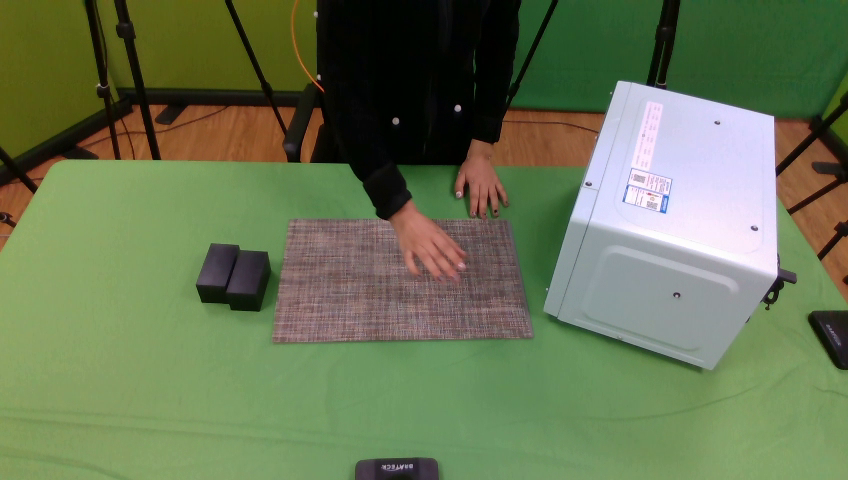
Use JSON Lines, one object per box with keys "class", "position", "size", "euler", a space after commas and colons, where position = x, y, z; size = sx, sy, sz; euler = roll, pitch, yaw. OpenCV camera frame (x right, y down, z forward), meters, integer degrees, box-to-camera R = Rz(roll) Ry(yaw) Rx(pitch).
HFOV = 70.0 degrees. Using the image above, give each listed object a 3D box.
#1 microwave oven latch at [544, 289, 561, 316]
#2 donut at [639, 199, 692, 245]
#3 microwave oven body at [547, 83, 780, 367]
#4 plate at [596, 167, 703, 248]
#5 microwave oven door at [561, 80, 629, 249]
{"class": "microwave oven latch", "position": [0.237, 0.098, 1.087], "size": [0.030, 0.029, 0.079], "euler": [18, 47, 14]}
{"class": "donut", "position": [0.461, -0.035, 1.159], "size": [0.099, 0.048, 0.098], "euler": [2, 62, -3]}
{"class": "microwave oven body", "position": [0.445, -0.041, 1.101], "size": [0.325, 0.261, 0.440], "euler": [17, 47, 13]}
{"class": "plate", "position": [0.432, -0.060, 1.177], "size": [0.209, 0.038, 0.208], "euler": [7, 47, -7]}
{"class": "microwave oven door", "position": [0.324, -0.116, 1.156], "size": [0.039, 0.245, 0.354], "euler": [18, 48, 13]}
